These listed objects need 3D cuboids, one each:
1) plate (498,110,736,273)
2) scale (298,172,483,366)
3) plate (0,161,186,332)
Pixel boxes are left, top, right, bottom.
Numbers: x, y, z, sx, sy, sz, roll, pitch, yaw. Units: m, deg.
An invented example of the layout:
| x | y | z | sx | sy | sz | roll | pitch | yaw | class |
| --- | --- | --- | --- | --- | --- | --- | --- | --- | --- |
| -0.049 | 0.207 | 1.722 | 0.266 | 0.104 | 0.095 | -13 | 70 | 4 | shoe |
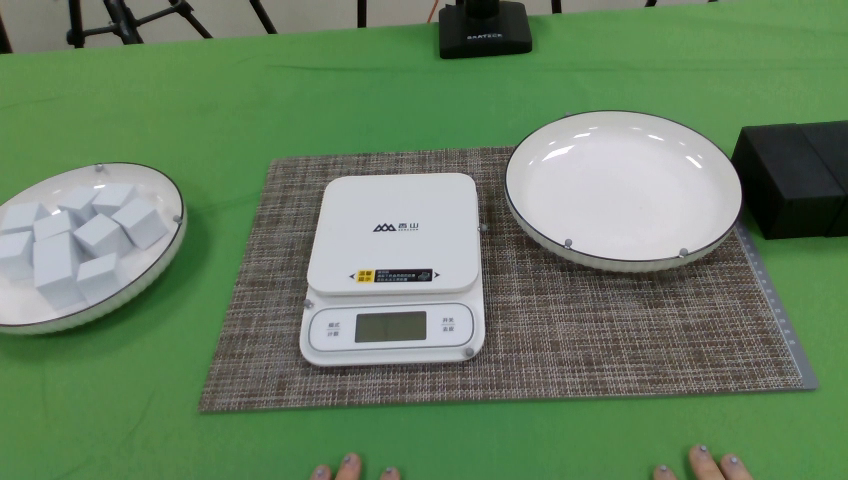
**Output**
| x | y | z | sx | sy | sz | roll | pitch | yaw | class |
| --- | --- | --- | --- | --- | --- | --- | --- | --- | --- |
| 0.174 | -0.045 | 0.563 | 0.207 | 0.039 | 0.205 | -3 | 47 | 3 | plate |
| -0.026 | 0.017 | 0.529 | 0.148 | 0.032 | 0.199 | -2 | 47 | 4 | scale |
| -0.326 | 0.005 | 0.571 | 0.209 | 0.038 | 0.207 | -2 | 47 | 3 | plate |
